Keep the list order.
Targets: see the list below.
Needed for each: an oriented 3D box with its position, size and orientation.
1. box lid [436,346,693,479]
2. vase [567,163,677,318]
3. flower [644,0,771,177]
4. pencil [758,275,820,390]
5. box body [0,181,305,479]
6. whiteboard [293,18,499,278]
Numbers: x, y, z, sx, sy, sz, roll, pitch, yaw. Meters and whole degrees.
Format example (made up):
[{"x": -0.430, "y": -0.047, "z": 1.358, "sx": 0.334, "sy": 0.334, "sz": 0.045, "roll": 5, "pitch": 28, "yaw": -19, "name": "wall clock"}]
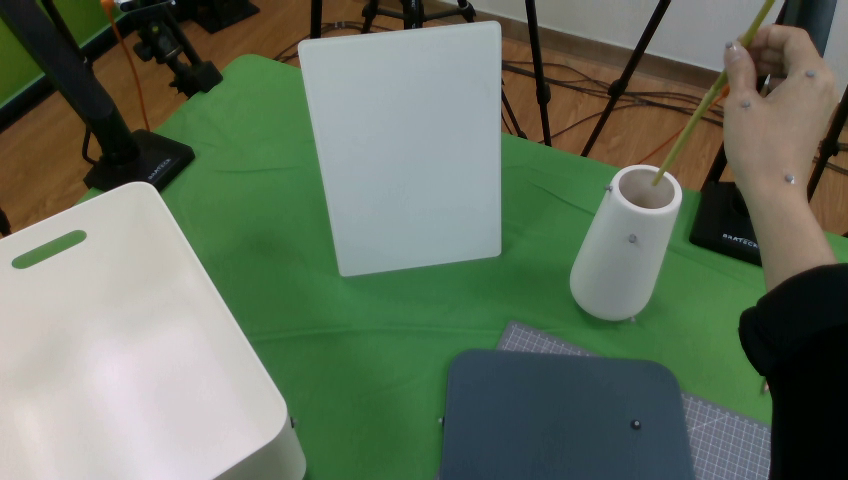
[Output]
[{"x": 0.141, "y": 0.276, "z": 0.603, "sx": 0.263, "sy": 0.015, "sz": 0.368, "roll": 3, "pitch": 53, "yaw": 3, "name": "box lid"}, {"x": 0.224, "y": 0.005, "z": 0.692, "sx": 0.098, "sy": 0.202, "sz": 0.097, "roll": -1, "pitch": 51, "yaw": 2, "name": "vase"}, {"x": 0.226, "y": -0.138, "z": 0.446, "sx": 0.038, "sy": 0.364, "sz": 0.043, "roll": -13, "pitch": 68, "yaw": -6, "name": "flower"}, {"x": 0.439, "y": 0.108, "z": 0.728, "sx": 0.012, "sy": 0.012, "sz": 0.193, "roll": 32, "pitch": 61, "yaw": 24, "name": "pencil"}, {"x": -0.313, "y": 0.145, "z": 0.617, "sx": 0.254, "sy": 0.162, "sz": 0.360, "roll": -31, "pitch": 58, "yaw": -20, "name": "box body"}, {"x": -0.026, "y": -0.129, "z": 0.770, "sx": 0.217, "sy": 0.308, "sz": 0.142, "roll": -7, "pitch": 34, "yaw": -4, "name": "whiteboard"}]
